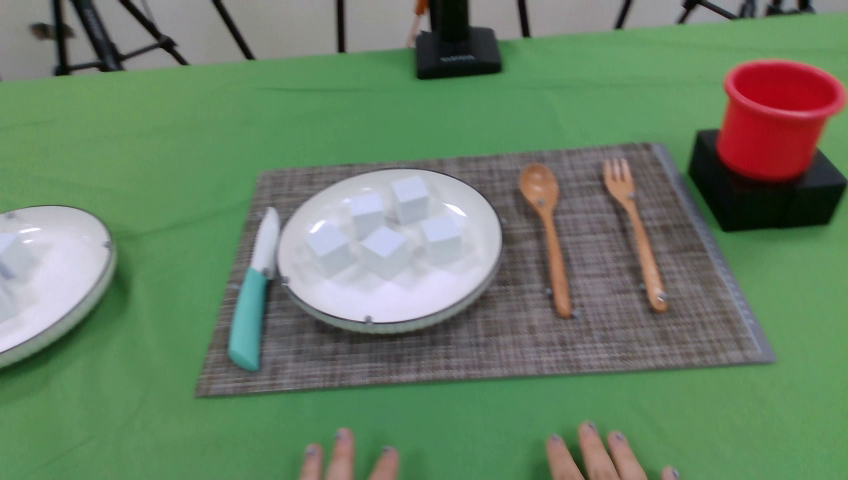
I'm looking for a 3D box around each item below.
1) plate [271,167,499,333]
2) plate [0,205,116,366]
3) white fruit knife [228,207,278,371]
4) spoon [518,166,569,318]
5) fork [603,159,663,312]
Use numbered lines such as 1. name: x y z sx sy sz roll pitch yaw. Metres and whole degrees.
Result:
1. plate: -0.035 0.008 0.565 0.207 0.039 0.205 -3 43 3
2. plate: -0.392 0.047 0.564 0.209 0.038 0.207 -2 43 3
3. white fruit knife: -0.156 0.035 0.567 0.027 0.016 0.205 16 38 -18
4. spoon: 0.117 -0.006 0.575 0.042 0.022 0.192 10 42 -9
5. fork: 0.199 -0.013 0.577 0.028 0.019 0.205 3 42 0
